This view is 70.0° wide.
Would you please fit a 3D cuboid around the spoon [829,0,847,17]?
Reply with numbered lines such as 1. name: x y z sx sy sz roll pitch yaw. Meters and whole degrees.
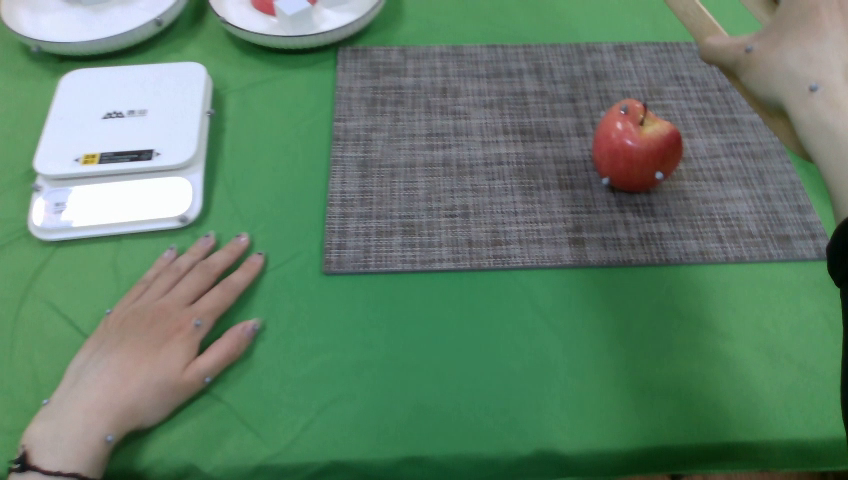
1. spoon: 0.546 -0.279 0.645 0.022 0.193 0.041 51 53 -22

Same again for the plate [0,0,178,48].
1. plate: -0.378 -0.285 0.695 0.208 0.039 0.205 1 56 -1

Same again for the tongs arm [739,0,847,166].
1. tongs arm: 0.249 -0.218 0.512 0.051 0.027 0.381 -17 60 -11

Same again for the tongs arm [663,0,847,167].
1. tongs arm: 0.218 -0.209 0.507 0.028 0.028 0.383 -14 60 -13

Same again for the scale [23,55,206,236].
1. scale: -0.288 -0.097 0.573 0.149 0.032 0.199 -6 57 -5

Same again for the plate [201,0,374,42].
1. plate: -0.153 -0.296 0.707 0.209 0.038 0.207 1 56 -1

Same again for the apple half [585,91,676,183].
1. apple half: 0.177 -0.085 0.547 0.053 0.075 0.080 -36 67 -18

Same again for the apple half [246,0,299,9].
1. apple half: -0.174 -0.305 0.706 0.081 0.033 0.080 -1 54 2
